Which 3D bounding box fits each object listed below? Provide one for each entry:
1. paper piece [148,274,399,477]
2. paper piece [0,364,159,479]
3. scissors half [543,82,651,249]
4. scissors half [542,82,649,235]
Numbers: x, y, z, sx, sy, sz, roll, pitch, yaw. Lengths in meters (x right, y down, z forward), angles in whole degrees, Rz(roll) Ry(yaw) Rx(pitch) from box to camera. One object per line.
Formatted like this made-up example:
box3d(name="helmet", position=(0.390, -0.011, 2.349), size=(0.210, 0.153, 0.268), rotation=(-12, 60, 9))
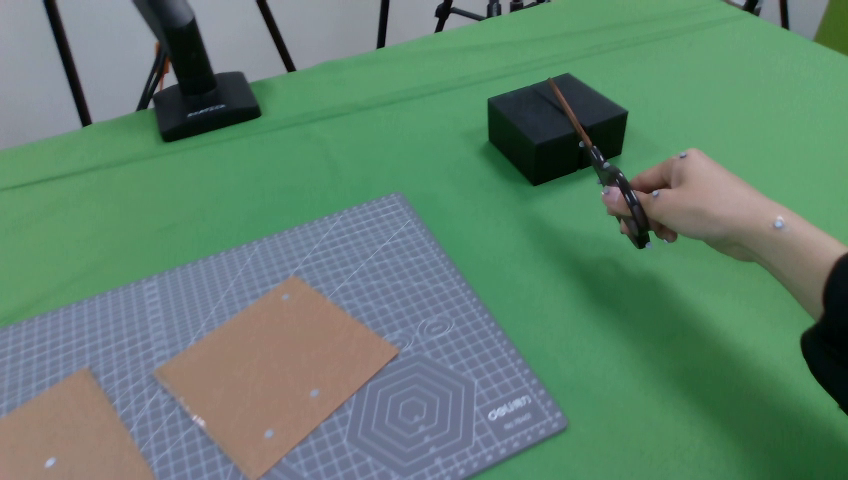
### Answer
box3d(name="paper piece", position=(-0.114, 0.092, 0.462), size=(0.135, 0.009, 0.138), rotation=(33, 53, 30))
box3d(name="paper piece", position=(-0.268, 0.159, 0.405), size=(0.136, 0.004, 0.134), rotation=(-33, 48, -28))
box3d(name="scissors half", position=(0.141, -0.067, 0.510), size=(0.013, 0.040, 0.174), rotation=(-27, 71, 6))
box3d(name="scissors half", position=(0.133, -0.074, 0.493), size=(0.013, 0.040, 0.173), rotation=(-30, 53, 10))
